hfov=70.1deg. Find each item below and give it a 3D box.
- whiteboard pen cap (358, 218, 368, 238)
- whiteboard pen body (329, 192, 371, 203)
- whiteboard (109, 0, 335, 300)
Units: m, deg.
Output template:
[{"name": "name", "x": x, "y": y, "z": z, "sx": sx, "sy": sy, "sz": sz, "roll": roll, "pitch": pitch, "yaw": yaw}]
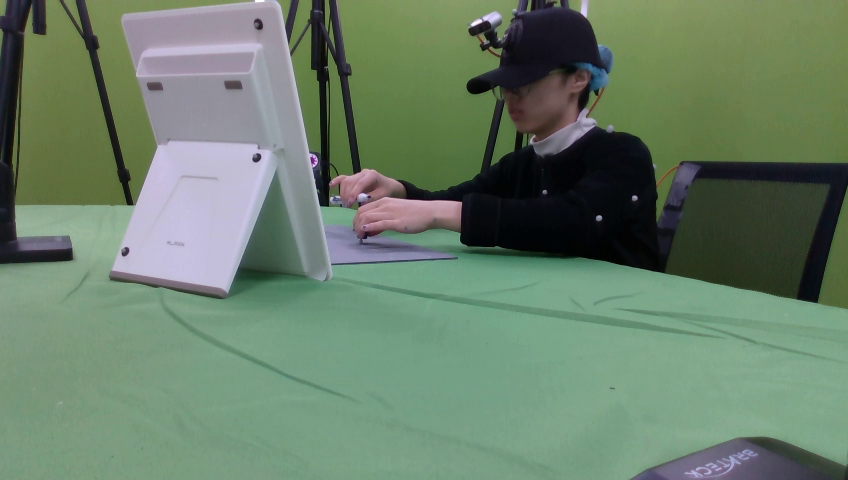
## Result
[{"name": "whiteboard pen cap", "x": -0.102, "y": -0.021, "z": 1.003, "sx": 0.018, "sy": 0.033, "sz": 0.018, "roll": 0, "pitch": -5, "yaw": 0}, {"name": "whiteboard pen body", "x": -0.136, "y": -0.079, "z": 1.114, "sx": 0.017, "sy": 0.017, "sz": 0.140, "roll": -4, "pitch": 2, "yaw": -38}, {"name": "whiteboard", "x": -0.247, "y": -0.072, "z": 0.624, "sx": 0.216, "sy": 0.305, "sz": 0.144, "roll": 6, "pitch": 28, "yaw": 26}]
